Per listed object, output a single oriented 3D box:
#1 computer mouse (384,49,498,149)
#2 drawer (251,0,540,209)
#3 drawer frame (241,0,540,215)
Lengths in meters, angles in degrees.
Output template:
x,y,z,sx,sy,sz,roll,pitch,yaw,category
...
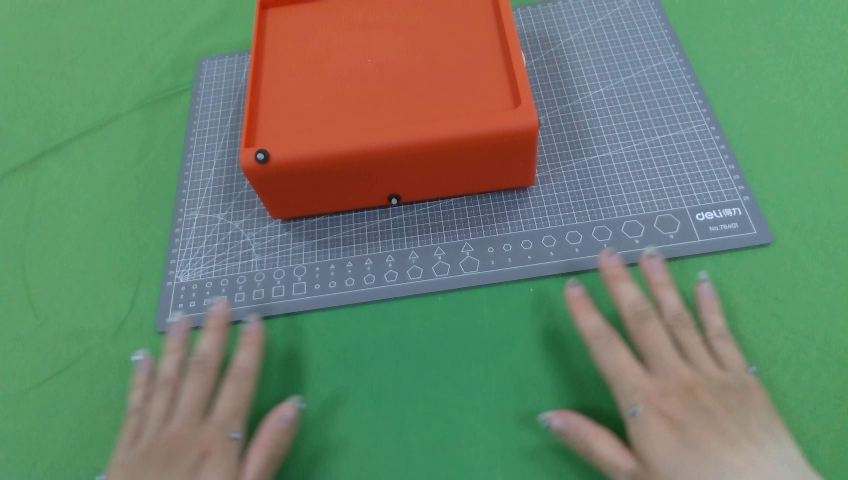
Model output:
x,y,z,sx,sy,sz,roll,pitch,yaw,category
0.015,-0.123,0.501,0.062,0.041,0.116,12,53,24,computer mouse
-0.023,-0.131,0.497,0.212,0.074,0.192,-8,58,4,drawer
-0.026,-0.131,0.495,0.213,0.083,0.199,-8,58,4,drawer frame
